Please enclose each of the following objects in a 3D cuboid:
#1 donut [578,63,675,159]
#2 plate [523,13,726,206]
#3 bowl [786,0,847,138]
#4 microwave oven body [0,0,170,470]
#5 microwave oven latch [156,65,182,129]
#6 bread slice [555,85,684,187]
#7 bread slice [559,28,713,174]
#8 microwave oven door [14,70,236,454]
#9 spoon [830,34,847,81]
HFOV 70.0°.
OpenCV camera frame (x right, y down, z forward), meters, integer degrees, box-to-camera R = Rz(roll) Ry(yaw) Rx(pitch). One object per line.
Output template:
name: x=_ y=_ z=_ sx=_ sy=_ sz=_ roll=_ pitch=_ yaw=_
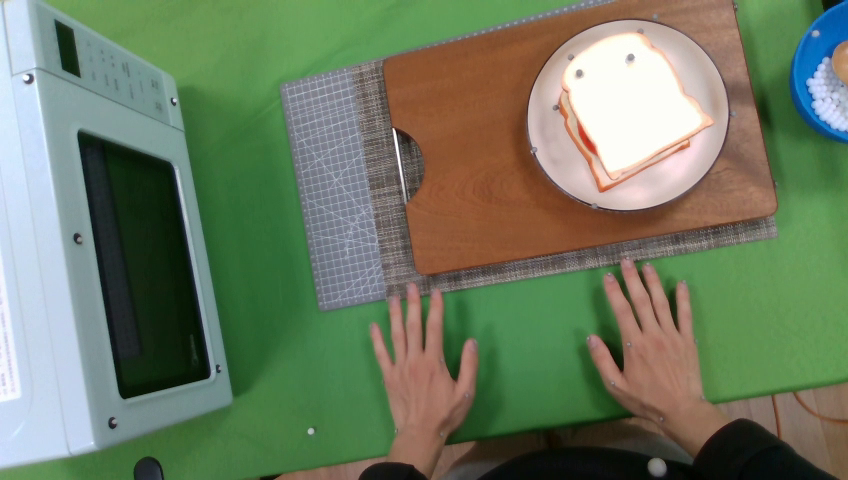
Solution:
donut: x=0.210 y=-0.134 z=0.630 sx=0.099 sy=0.048 sz=0.099 roll=0 pitch=90 yaw=5
plate: x=0.213 y=-0.139 z=0.660 sx=0.207 sy=0.039 sz=0.207 roll=-1 pitch=87 yaw=11
bowl: x=0.446 y=-0.170 z=0.625 sx=0.151 sy=0.077 sz=0.151 roll=-1 pitch=87 yaw=11
microwave oven body: x=-0.459 y=0.018 z=0.693 sx=0.326 sy=0.261 sz=0.440 roll=-14 pitch=84 yaw=9
microwave oven latch: x=-0.336 y=-0.181 z=0.780 sx=0.030 sy=0.029 sz=0.079 roll=-14 pitch=85 yaw=9
bread slice: x=0.206 y=-0.137 z=0.664 sx=0.105 sy=0.019 sz=0.131 roll=-30 pitch=85 yaw=6
bread slice: x=0.198 y=-0.142 z=0.603 sx=0.107 sy=0.018 sz=0.133 roll=-33 pitch=75 yaw=8
microwave oven door: x=-0.310 y=0.024 z=0.659 sx=0.039 sy=0.244 sz=0.354 roll=-14 pitch=84 yaw=10
spoon: x=0.451 y=-0.125 z=0.591 sx=0.041 sy=0.022 sz=0.192 roll=-12 pitch=61 yaw=7
